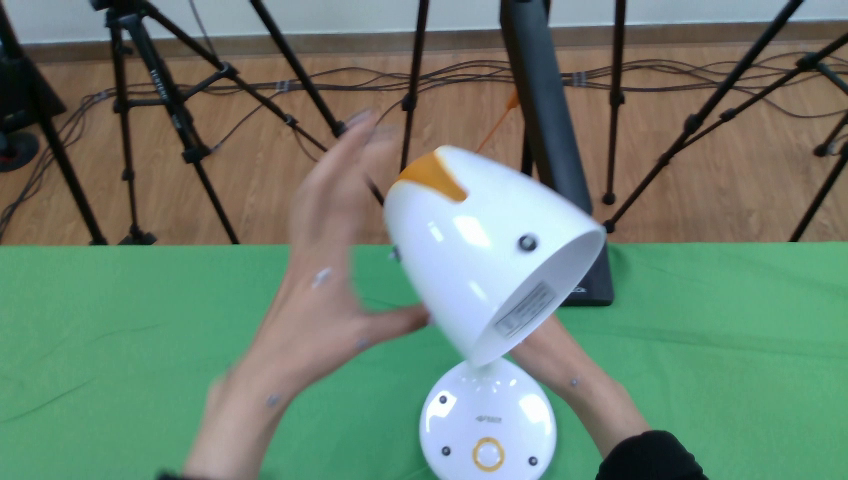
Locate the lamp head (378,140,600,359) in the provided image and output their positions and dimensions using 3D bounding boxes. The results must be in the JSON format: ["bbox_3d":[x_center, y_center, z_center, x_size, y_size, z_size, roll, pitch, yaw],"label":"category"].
[{"bbox_3d":[0.031,-0.003,0.383,0.112,0.113,0.122,-36,60,-18],"label":"lamp head"}]

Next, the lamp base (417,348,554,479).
[{"bbox_3d":[0.066,0.157,0.660,0.161,0.182,0.177,-6,55,0],"label":"lamp base"}]
